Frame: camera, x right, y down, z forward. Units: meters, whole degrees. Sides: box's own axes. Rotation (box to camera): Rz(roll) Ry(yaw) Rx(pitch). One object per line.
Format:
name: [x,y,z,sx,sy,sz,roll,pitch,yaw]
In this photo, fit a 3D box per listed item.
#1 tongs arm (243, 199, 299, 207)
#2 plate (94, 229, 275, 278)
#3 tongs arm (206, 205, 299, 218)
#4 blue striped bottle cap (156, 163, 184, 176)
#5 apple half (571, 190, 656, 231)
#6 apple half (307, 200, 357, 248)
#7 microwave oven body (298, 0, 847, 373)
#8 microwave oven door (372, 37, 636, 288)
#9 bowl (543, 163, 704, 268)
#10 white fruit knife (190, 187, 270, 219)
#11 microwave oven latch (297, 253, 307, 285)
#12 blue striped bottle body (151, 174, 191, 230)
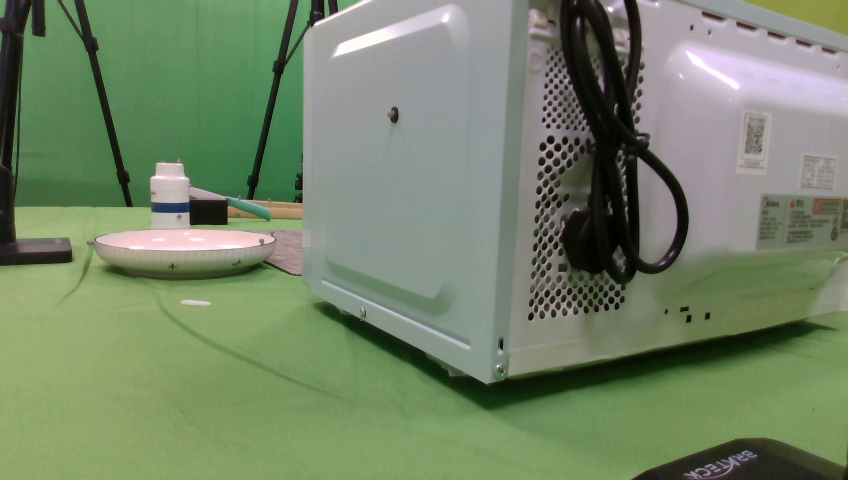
tongs arm: [-0.309,-0.079,1.487,0.385,0.026,0.050,3,7,-2]
plate: [-0.291,0.016,0.749,0.208,0.039,0.207,2,7,0]
tongs arm: [-0.302,-0.065,1.407,0.389,0.028,0.028,1,4,-15]
blue striped bottle cap: [-0.438,-0.122,1.045,0.044,0.020,0.044,5,6,0]
apple half: [0.182,-0.031,0.582,0.081,0.033,0.081,12,-4,1]
apple half: [-0.135,-0.024,0.941,0.053,0.074,0.081,13,8,38]
microwave oven body: [0.151,-0.055,0.542,0.444,0.260,0.324,-1,7,-33]
microwave oven door: [0.110,-0.080,0.686,0.358,0.243,0.039,-2,9,-33]
bowl: [0.181,-0.021,0.584,0.151,0.077,0.151,13,7,-1]
white fruit knife: [-0.413,-0.081,1.270,0.208,0.027,0.016,17,14,-41]
microwave oven latch: [-0.082,0.027,0.582,0.079,0.029,0.030,-1,7,-33]
blue striped bottle body: [-0.439,-0.071,1.052,0.063,0.120,0.063,2,7,0]
